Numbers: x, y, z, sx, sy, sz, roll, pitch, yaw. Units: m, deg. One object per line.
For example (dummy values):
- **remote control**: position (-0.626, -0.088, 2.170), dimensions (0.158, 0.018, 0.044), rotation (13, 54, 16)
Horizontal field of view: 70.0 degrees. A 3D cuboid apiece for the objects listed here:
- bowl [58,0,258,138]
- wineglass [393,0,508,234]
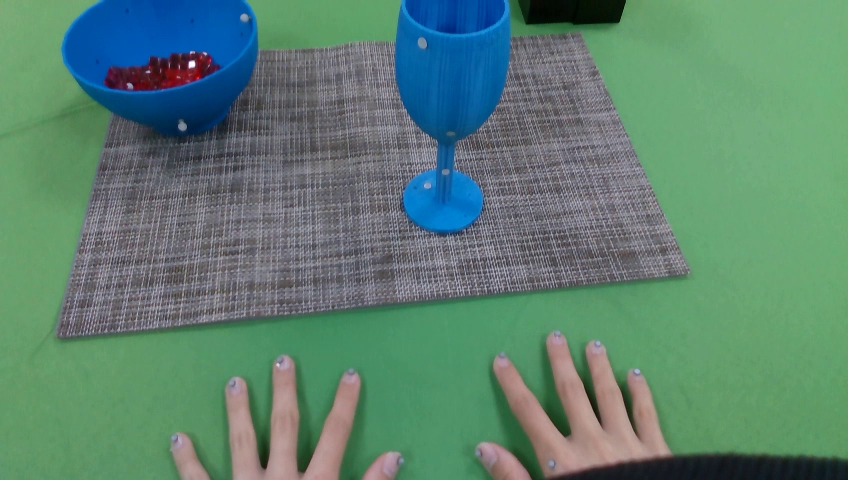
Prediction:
- **bowl**: position (-0.210, -0.140, 0.512), dimensions (0.151, 0.077, 0.150), rotation (1, 53, -1)
- **wineglass**: position (0.015, -0.082, 0.417), dimensions (0.074, 0.174, 0.073), rotation (1, 53, -1)
